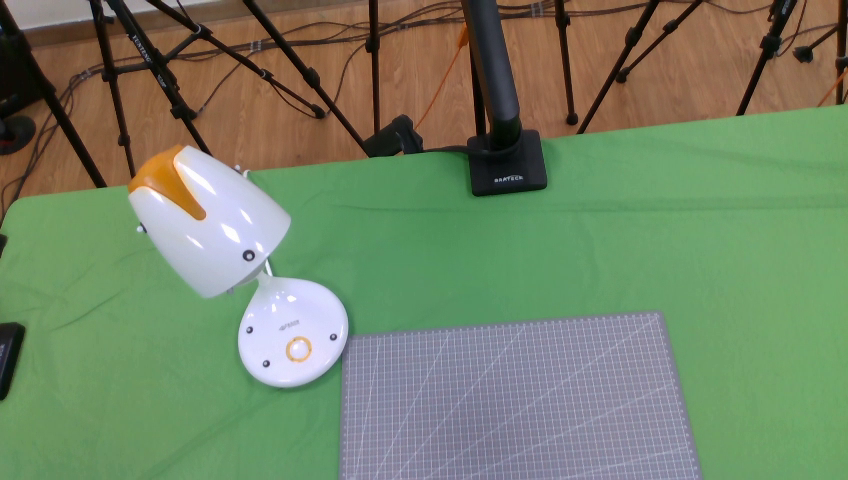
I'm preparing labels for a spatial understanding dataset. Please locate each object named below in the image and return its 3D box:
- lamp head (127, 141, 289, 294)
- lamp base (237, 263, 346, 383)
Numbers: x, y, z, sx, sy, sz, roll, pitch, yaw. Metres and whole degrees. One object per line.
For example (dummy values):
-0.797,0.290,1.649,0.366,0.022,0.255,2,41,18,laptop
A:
-0.203,-0.030,0.552,0.112,0.124,0.111,-34,22,16,lamp head
-0.208,0.083,0.814,0.160,0.182,0.177,-32,59,-10,lamp base
